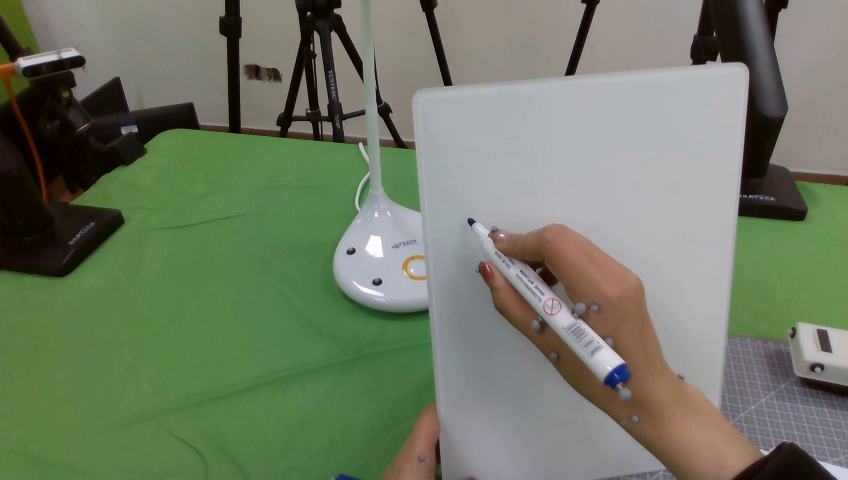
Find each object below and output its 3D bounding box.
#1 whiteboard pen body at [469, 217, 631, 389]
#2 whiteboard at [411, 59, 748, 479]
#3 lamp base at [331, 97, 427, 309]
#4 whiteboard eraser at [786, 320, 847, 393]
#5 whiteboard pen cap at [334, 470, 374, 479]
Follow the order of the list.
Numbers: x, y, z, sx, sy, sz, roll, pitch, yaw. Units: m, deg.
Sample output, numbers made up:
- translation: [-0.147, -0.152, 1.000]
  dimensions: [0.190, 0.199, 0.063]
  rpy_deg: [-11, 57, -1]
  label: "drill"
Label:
- translation: [0.065, 0.028, 0.345]
  dimensions: [0.017, 0.017, 0.139]
  rpy_deg: [-21, 49, -23]
  label: "whiteboard pen body"
- translation: [0.104, 0.022, 0.481]
  dimensions: [0.217, 0.307, 0.143]
  rpy_deg: [-6, 18, -4]
  label: "whiteboard"
- translation: [-0.032, -0.047, 0.636]
  dimensions: [0.161, 0.182, 0.177]
  rpy_deg: [-24, 40, -27]
  label: "lamp base"
- translation: [0.380, 0.107, 0.525]
  dimensions: [0.112, 0.042, 0.055]
  rpy_deg: [11, 40, 16]
  label: "whiteboard eraser"
- translation: [-0.051, 0.186, 0.460]
  dimensions: [0.033, 0.018, 0.018]
  rpy_deg: [8, 38, 14]
  label: "whiteboard pen cap"
